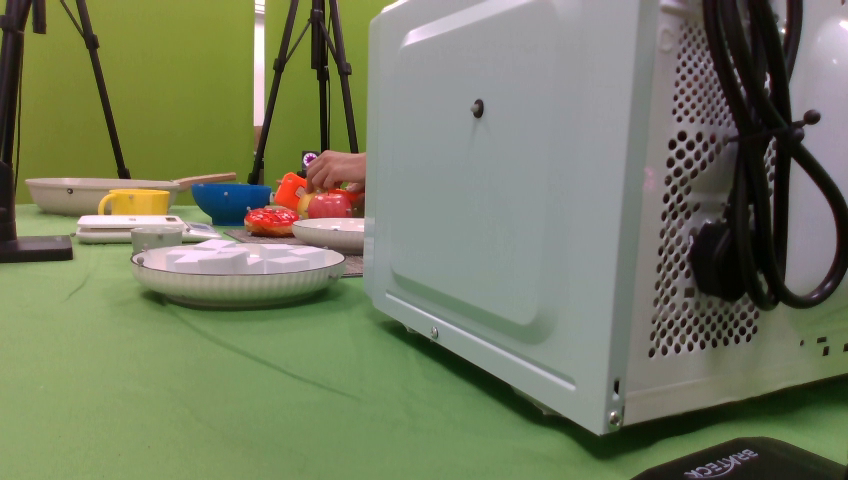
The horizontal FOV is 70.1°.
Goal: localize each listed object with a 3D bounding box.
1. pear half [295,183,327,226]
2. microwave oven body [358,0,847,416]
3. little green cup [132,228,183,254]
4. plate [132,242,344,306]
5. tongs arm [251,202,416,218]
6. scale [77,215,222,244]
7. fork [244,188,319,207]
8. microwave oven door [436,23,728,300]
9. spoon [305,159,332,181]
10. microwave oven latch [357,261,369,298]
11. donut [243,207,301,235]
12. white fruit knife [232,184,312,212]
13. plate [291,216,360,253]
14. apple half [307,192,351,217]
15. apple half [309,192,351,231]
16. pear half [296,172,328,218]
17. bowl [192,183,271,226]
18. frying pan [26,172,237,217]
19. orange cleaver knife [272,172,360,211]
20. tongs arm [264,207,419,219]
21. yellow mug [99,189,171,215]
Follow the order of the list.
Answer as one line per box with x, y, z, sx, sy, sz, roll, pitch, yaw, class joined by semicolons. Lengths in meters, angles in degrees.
-0.235;-0.072;1.230;0.071;0.088;0.031;-7;3;-43;pear half
0.211;-0.047;0.474;0.444;0.260;0.324;-1;7;-28;microwave oven body
-0.342;0.006;0.779;0.061;0.038;0.061;2;8;0;little green cup
-0.187;0.033;0.625;0.208;0.039;0.207;2;7;0;plate
-0.209;-0.072;1.438;0.389;0.027;0.028;1;1;-16;tongs arm
-0.434;-0.019;0.963;0.202;0.031;0.148;-1;9;-27;scale
-0.356;-0.105;1.526;0.208;0.018;0.028;16;-6;-41;fork
0.180;-0.073;0.621;0.358;0.243;0.039;-2;9;-29;microwave oven door
-0.317;-0.159;1.639;0.194;0.022;0.041;-49;32;-20;spoon
-0.019;0.033;0.530;0.079;0.029;0.030;-1;7;-26;microwave oven latch
-0.262;-0.032;1.043;0.099;0.048;0.099;4;9;0;donut
-0.364;-0.105;1.464;0.208;0.027;0.016;15;-1;-34;white fruit knife
-0.103;-0.009;0.945;0.209;0.038;0.209;2;8;0;plate
-0.174;-0.049;1.087;0.081;0.074;0.053;6;11;2;apple half
-0.173;-0.055;1.126;0.081;0.081;0.033;2;11;2;apple half
-0.209;-0.078;1.196;0.077;0.110;0.055;-7;12;-40;pear half
-0.382;-0.070;1.202;0.151;0.077;0.151;3;7;0;bowl
-0.624;-0.118;1.387;0.305;0.102;0.490;8;17;32;frying pan
-0.204;-0.084;1.231;0.212;0.077;0.012;10;8;-34;orange cleaver knife
-0.173;-0.062;1.362;0.387;0.026;0.050;-1;5;-30;tongs arm
-0.518;-0.055;1.080;0.099;0.064;0.131;7;9;26;yellow mug
